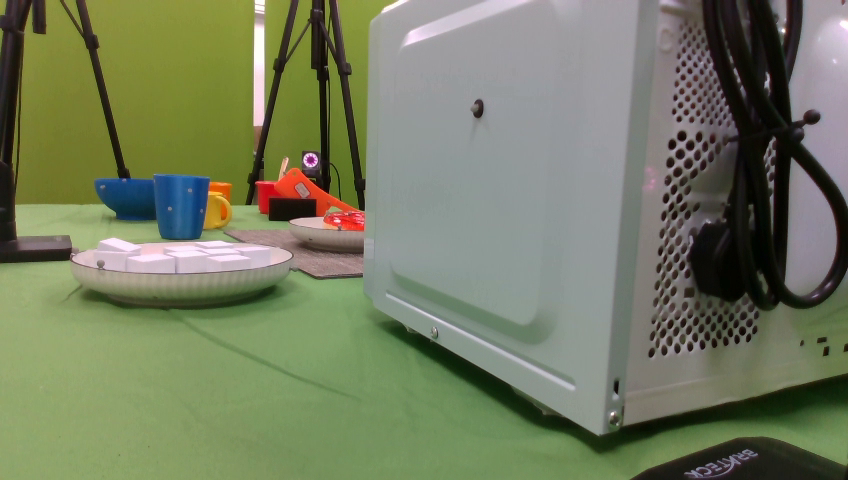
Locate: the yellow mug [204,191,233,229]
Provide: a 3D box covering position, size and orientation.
[{"bbox_3d":[-0.415,-0.057,1.132,0.130,0.064,0.100,6,8,16],"label":"yellow mug"}]

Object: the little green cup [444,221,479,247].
[{"bbox_3d":[0.064,-0.011,1.035,0.061,0.038,0.061,1,9,0],"label":"little green cup"}]

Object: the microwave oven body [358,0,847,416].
[{"bbox_3d":[0.211,-0.047,0.474,0.444,0.260,0.324,-1,8,-28],"label":"microwave oven body"}]

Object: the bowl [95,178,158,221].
[{"bbox_3d":[-0.576,-0.081,1.217,0.151,0.077,0.151,3,8,0],"label":"bowl"}]

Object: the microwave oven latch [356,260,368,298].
[{"bbox_3d":[-0.019,0.033,0.530,0.079,0.029,0.030,0,7,-26],"label":"microwave oven latch"}]

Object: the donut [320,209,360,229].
[{"bbox_3d":[-0.115,-0.023,0.962,0.099,0.048,0.099,5,9,0],"label":"donut"}]

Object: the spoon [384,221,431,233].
[{"bbox_3d":[-0.024,-0.029,1.187,0.041,0.021,0.194,-12,0,23],"label":"spoon"}]

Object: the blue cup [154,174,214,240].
[{"bbox_3d":[-0.391,-0.053,0.978,0.093,0.100,0.092,3,6,0],"label":"blue cup"}]

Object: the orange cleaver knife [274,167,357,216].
[{"bbox_3d":[-0.238,-0.091,1.381,0.212,0.077,0.012,31,0,-19],"label":"orange cleaver knife"}]

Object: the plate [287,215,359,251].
[{"bbox_3d":[-0.111,-0.012,0.960,0.209,0.038,0.209,3,8,0],"label":"plate"}]

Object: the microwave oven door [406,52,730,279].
[{"bbox_3d":[0.162,-0.082,0.693,0.356,0.243,0.039,2,8,-3],"label":"microwave oven door"}]

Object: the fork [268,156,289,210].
[{"bbox_3d":[-0.360,-0.144,1.508,0.028,0.018,0.207,1,49,0],"label":"fork"}]

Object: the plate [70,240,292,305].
[{"bbox_3d":[-0.242,0.031,0.618,0.208,0.039,0.207,2,8,0],"label":"plate"}]
